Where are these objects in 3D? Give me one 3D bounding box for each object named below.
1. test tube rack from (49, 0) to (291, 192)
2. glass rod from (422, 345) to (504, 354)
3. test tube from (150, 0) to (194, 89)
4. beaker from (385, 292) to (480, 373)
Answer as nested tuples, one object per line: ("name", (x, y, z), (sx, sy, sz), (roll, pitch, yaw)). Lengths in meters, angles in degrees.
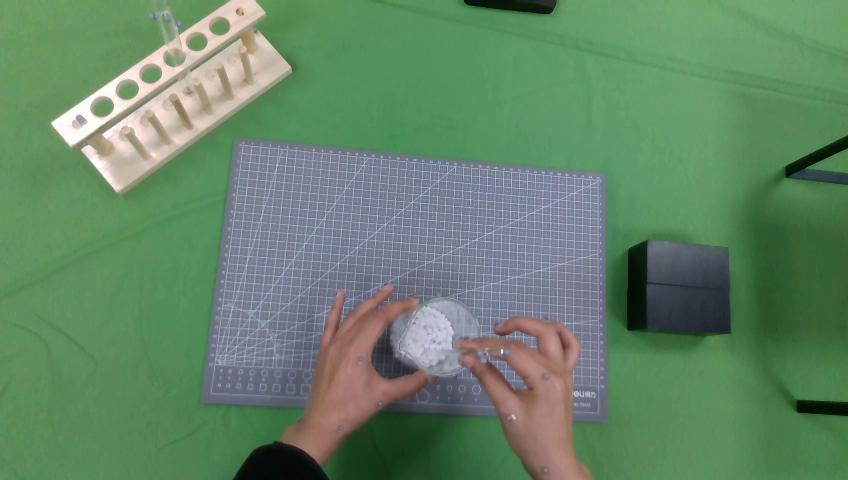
("test tube rack", (-0.267, -0.162, 0.666), (0.242, 0.085, 0.066), (-40, 85, -13))
("glass rod", (0.029, 0.101, 0.556), (0.008, 0.199, 0.008), (3, 79, -17))
("test tube", (-0.256, -0.197, 0.624), (0.017, 0.150, 0.017), (3, 74, -11))
("beaker", (0.001, 0.096, 0.614), (0.084, 0.100, 0.074), (-13, 84, -17))
